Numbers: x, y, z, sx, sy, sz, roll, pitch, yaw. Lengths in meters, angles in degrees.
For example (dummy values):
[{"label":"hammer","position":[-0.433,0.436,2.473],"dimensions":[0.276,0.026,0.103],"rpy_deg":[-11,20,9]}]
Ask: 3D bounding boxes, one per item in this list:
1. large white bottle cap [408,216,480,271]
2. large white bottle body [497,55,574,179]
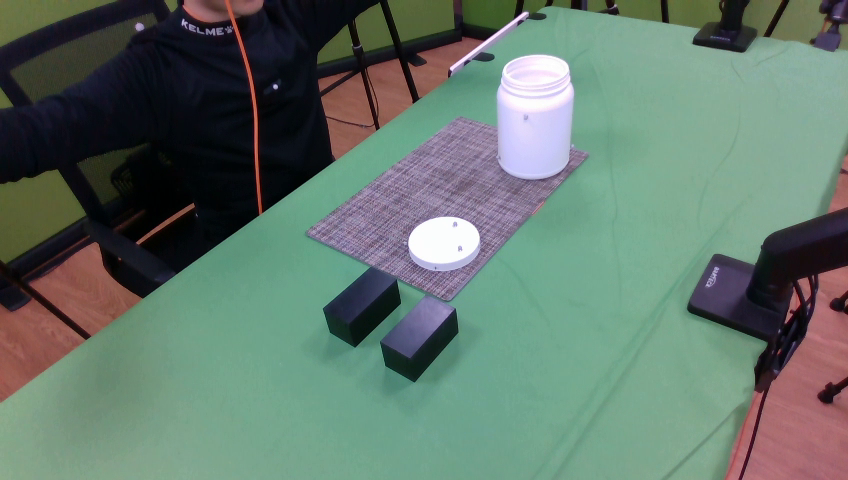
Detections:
[{"label":"large white bottle cap","position":[0.032,0.004,0.957],"dimensions":[0.115,0.018,0.114],"rpy_deg":[-4,41,4]},{"label":"large white bottle body","position":[0.194,-0.216,1.060],"dimensions":[0.130,0.185,0.130],"rpy_deg":[-4,41,4]}]
